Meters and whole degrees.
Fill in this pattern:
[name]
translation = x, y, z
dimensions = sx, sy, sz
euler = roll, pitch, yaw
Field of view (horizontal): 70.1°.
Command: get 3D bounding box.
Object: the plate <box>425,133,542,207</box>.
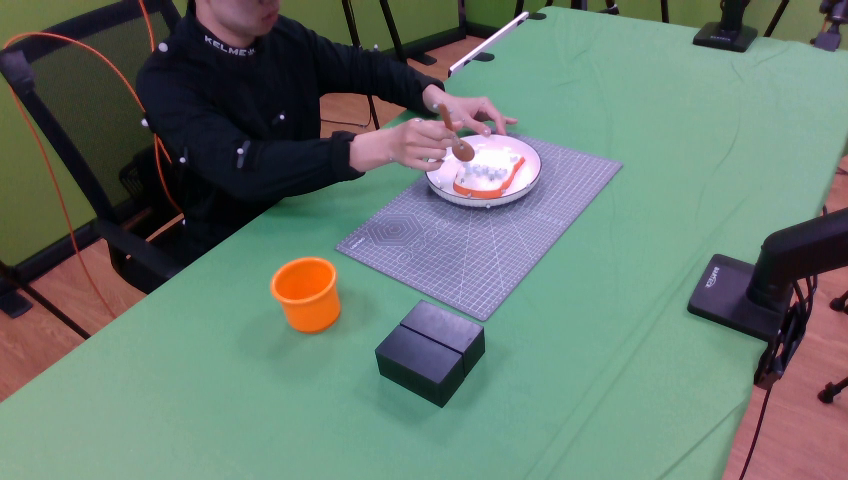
[plate]
translation = 0.106, -0.121, 1.079
dimensions = 0.209, 0.038, 0.208
euler = -4, 41, 4

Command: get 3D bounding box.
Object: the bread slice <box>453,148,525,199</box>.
[bread slice]
translation = 0.112, -0.120, 1.078
dimensions = 0.104, 0.019, 0.131
euler = 12, 45, 21

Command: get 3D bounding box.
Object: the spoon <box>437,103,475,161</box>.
[spoon]
translation = 0.049, -0.170, 0.974
dimensions = 0.041, 0.195, 0.021
euler = 7, 79, 17
